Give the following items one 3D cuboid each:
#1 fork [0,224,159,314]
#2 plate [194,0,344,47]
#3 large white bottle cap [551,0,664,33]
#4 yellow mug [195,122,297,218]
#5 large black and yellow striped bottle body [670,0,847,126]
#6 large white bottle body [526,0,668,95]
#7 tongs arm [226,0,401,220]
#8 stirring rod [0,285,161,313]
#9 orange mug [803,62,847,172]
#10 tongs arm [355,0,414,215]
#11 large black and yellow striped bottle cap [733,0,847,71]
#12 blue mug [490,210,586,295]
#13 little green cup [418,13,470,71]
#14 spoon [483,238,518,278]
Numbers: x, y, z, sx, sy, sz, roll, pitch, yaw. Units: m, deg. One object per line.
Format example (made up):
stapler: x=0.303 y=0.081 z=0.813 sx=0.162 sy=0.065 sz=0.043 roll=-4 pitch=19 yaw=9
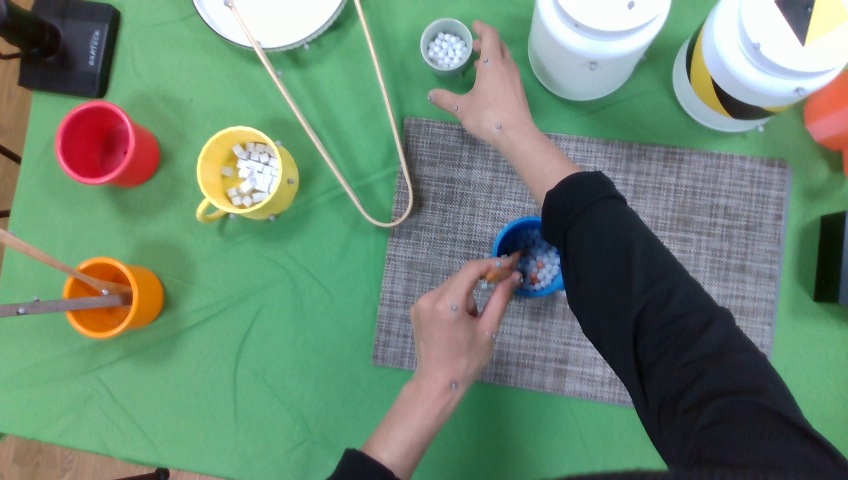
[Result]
fork: x=-0.397 y=0.031 z=0.686 sx=0.209 sy=0.018 sz=0.028 roll=39 pitch=84 yaw=-37
plate: x=-0.185 y=-0.336 z=0.744 sx=0.207 sy=0.039 sz=0.207 roll=0 pitch=87 yaw=5
large white bottle cap: x=0.169 y=-0.247 z=0.552 sx=0.115 sy=0.018 sz=0.114 roll=0 pitch=87 yaw=5
yellow mug: x=-0.220 y=-0.072 z=0.719 sx=0.131 sy=0.064 sz=0.100 roll=-44 pitch=85 yaw=3
large black and yellow striped bottle body: x=0.344 y=-0.201 z=0.620 sx=0.130 sy=0.184 sz=0.130 roll=0 pitch=86 yaw=5
large white bottle body: x=0.178 y=-0.242 z=0.635 sx=0.130 sy=0.185 sz=0.130 roll=0 pitch=86 yaw=5
tongs arm: x=-0.145 y=-0.183 z=0.713 sx=0.051 sy=0.026 sz=0.385 roll=-30 pitch=92 yaw=-1
stirring rod: x=-0.393 y=0.066 z=0.690 sx=0.177 sy=0.006 sz=0.014 roll=-4 pitch=80 yaw=-37
orange mug: x=0.477 y=-0.138 z=0.649 sx=0.083 sy=0.101 sz=0.126 roll=-2 pitch=82 yaw=5
tongs arm: x=-0.069 y=-0.219 z=0.712 sx=0.028 sy=0.027 sz=0.387 roll=-17 pitch=92 yaw=-5
large black and yellow striped bottle cap: x=0.336 y=-0.209 z=0.537 sx=0.115 sy=0.019 sz=0.115 roll=0 pitch=88 yaw=4
blue mug: x=0.127 y=0.023 z=0.662 sx=0.116 sy=0.106 sz=0.082 roll=36 pitch=90 yaw=6
little green cup: x=0.025 y=-0.232 z=0.720 sx=0.061 sy=0.039 sz=0.061 roll=0 pitch=87 yaw=6
spoon: x=0.075 y=0.020 z=0.599 sx=0.041 sy=0.193 sz=0.021 roll=-38 pitch=90 yaw=11
